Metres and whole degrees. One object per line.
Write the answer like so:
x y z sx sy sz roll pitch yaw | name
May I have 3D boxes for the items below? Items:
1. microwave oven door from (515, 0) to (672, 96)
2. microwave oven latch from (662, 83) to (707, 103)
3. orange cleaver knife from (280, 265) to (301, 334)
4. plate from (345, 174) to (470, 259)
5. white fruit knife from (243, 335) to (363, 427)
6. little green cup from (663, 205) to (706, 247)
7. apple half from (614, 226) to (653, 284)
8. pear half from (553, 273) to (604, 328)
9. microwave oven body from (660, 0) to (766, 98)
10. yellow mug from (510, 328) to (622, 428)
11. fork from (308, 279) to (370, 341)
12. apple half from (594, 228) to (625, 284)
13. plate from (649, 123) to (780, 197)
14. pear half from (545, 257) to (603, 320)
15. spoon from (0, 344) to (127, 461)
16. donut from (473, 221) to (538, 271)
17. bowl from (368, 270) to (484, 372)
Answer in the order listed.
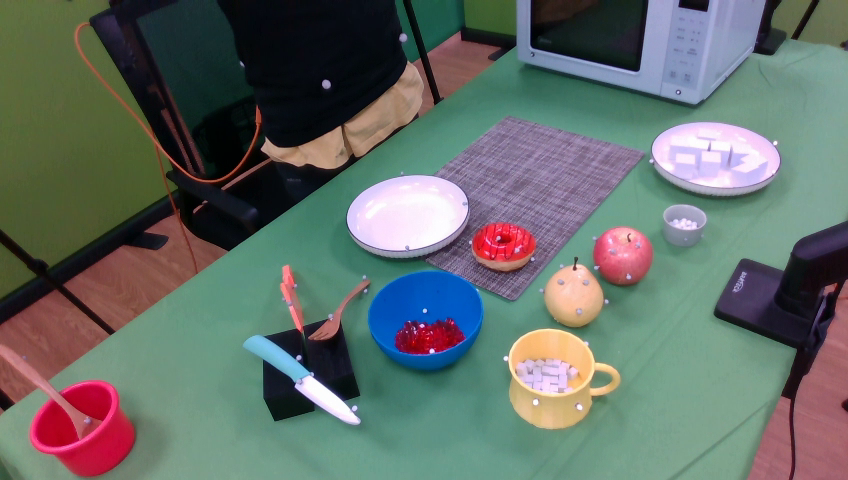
0.343 -0.454 1.259 0.353 0.245 0.039 26 51 33 | microwave oven door
0.517 -0.296 1.204 0.078 0.029 0.030 27 52 35 | microwave oven latch
-0.188 0.081 0.862 0.012 0.077 0.210 -20 12 -9 | orange cleaver knife
-0.026 -0.037 1.004 0.209 0.038 0.208 -4 40 4 | plate
-0.148 0.167 0.729 0.206 0.016 0.027 27 80 31 | white fruit knife
0.396 -0.021 0.926 0.061 0.039 0.061 -4 40 4 | little green cup
0.298 0.023 0.864 0.053 0.075 0.080 -3 37 1 | apple half
0.208 0.085 0.791 0.071 0.088 0.031 -14 39 -15 | pear half
0.472 -0.513 1.317 0.438 0.261 0.327 26 51 34 | microwave oven body
0.168 0.164 0.722 0.131 0.064 0.099 0 40 7 | yellow mug
-0.109 0.093 0.832 0.028 0.018 0.207 -5 19 15 | fork
0.259 0.026 0.864 0.033 0.081 0.081 -3 40 0 | apple half
0.497 -0.135 1.046 0.207 0.039 0.206 -4 40 4 | plate
0.197 0.056 0.811 0.076 0.110 0.055 -14 41 -13 | pear half
-0.433 0.191 0.721 0.194 0.021 0.042 47 53 -7 | spoon
0.123 0.008 0.923 0.099 0.048 0.098 -3 38 3 | donut
0.006 0.119 0.792 0.151 0.077 0.150 -5 40 4 | bowl
